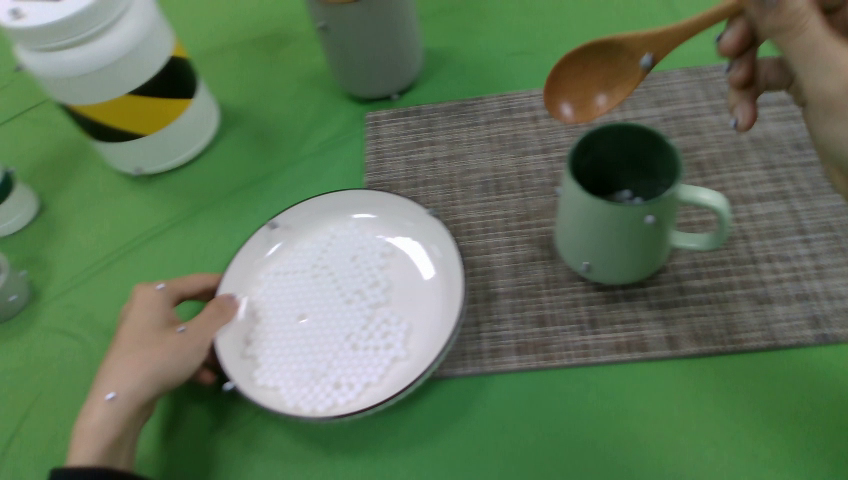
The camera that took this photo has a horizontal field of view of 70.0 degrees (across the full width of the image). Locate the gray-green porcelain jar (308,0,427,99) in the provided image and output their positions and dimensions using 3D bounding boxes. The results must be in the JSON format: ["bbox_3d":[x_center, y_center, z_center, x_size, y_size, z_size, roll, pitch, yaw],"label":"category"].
[{"bbox_3d":[-0.054,-0.218,0.620,0.106,0.128,0.105,-4,56,7],"label":"gray-green porcelain jar"}]

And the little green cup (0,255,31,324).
[{"bbox_3d":[-0.396,0.047,0.553,0.061,0.039,0.061,-5,54,7],"label":"little green cup"}]

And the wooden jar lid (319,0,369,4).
[{"bbox_3d":[-0.063,-0.253,0.570,0.108,0.021,0.107,-4,59,7],"label":"wooden jar lid"}]

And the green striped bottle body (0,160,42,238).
[{"bbox_3d":[-0.435,-0.059,0.582,0.063,0.120,0.062,-5,55,7],"label":"green striped bottle body"}]

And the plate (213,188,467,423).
[{"bbox_3d":[-0.065,0.050,0.494,0.209,0.038,0.207,-6,56,9],"label":"plate"}]

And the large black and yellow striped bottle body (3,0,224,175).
[{"bbox_3d":[-0.293,-0.167,0.590,0.130,0.186,0.129,-4,56,7],"label":"large black and yellow striped bottle body"}]

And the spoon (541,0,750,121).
[{"bbox_3d":[0.138,-0.110,0.280,0.193,0.042,0.021,-25,22,39],"label":"spoon"}]

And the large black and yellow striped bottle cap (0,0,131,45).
[{"bbox_3d":[-0.306,-0.211,0.521,0.115,0.019,0.114,-4,55,7],"label":"large black and yellow striped bottle cap"}]

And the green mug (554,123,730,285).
[{"bbox_3d":[0.164,-0.022,0.461,0.125,0.106,0.092,13,59,18],"label":"green mug"}]
